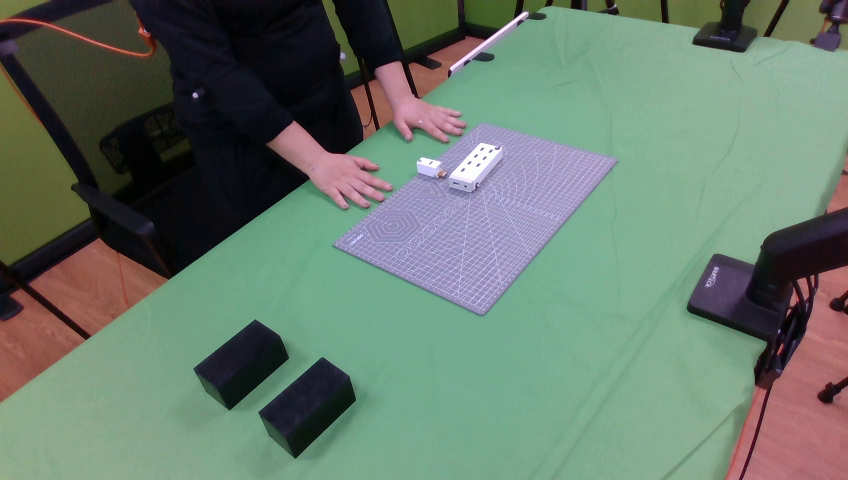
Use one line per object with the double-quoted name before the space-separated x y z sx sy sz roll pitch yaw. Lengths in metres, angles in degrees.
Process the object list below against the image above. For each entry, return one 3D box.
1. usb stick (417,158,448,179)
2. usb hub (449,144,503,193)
"usb stick" 0.016 -0.130 1.114 0.059 0.027 0.021 21 45 26
"usb hub" 0.096 -0.132 1.105 0.049 0.025 0.125 18 47 27
